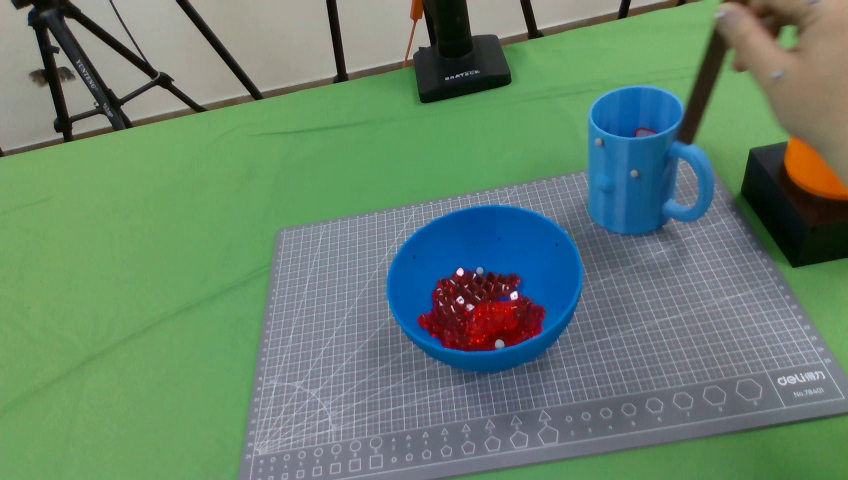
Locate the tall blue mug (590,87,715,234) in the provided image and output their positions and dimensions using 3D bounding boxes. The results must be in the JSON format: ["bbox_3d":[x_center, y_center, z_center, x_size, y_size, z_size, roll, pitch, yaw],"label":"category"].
[{"bbox_3d":[0.202,-0.066,0.535,0.106,0.109,0.077,10,49,23],"label":"tall blue mug"}]

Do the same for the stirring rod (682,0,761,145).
[{"bbox_3d":[0.188,-0.125,0.365,0.014,0.178,0.006,29,59,23],"label":"stirring rod"}]

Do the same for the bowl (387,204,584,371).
[{"bbox_3d":[0.052,0.050,0.484,0.151,0.077,0.150,-7,45,8],"label":"bowl"}]
